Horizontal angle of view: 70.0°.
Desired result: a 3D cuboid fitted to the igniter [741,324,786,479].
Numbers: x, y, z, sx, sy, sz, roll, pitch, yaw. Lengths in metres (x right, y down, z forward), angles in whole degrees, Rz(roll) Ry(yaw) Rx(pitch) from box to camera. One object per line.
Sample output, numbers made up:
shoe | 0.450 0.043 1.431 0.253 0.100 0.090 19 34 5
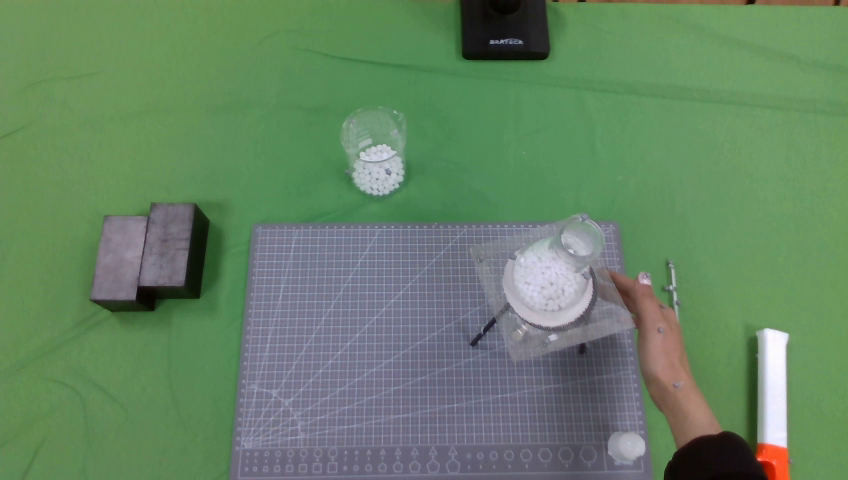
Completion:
igniter | 0.370 0.227 0.654 0.057 0.025 0.275 15 70 -7

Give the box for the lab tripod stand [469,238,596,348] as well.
lab tripod stand | 0.118 0.065 0.645 0.148 0.132 0.147 0 72 -1

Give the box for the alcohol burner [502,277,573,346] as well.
alcohol burner | 0.126 0.073 0.653 0.078 0.120 0.077 1 70 -3

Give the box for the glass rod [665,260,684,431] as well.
glass rod | 0.289 0.117 0.701 0.008 0.008 0.198 4 70 0

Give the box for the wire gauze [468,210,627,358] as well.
wire gauze | 0.119 0.041 0.584 0.125 0.011 0.120 -16 74 -9

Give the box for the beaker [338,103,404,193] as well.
beaker | -0.058 -0.107 0.723 0.084 0.101 0.073 -40 76 -15

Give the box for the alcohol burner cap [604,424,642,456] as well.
alcohol burner cap | 0.214 0.212 0.644 0.034 0.048 0.033 1 70 -2

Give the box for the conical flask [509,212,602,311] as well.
conical flask | 0.120 0.015 0.530 0.075 0.122 0.075 1 72 -1
